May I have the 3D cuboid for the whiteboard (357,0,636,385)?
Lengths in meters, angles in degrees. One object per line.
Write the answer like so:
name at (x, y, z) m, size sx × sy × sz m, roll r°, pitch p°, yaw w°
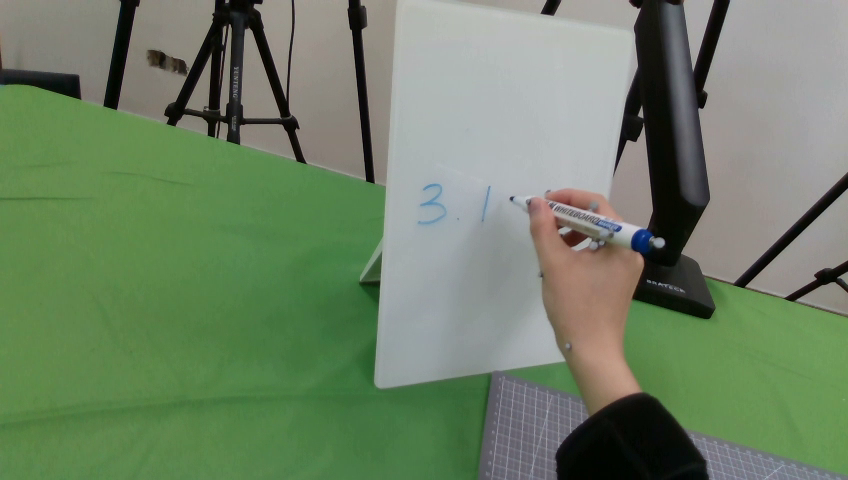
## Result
whiteboard at (0.042, -0.052, 0.555) m, size 0.218 × 0.306 × 0.142 m, roll -3°, pitch 17°, yaw -25°

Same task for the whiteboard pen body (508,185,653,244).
whiteboard pen body at (0.102, -0.023, 0.428) m, size 0.017 × 0.017 × 0.139 m, roll -6°, pitch 19°, yaw -29°
